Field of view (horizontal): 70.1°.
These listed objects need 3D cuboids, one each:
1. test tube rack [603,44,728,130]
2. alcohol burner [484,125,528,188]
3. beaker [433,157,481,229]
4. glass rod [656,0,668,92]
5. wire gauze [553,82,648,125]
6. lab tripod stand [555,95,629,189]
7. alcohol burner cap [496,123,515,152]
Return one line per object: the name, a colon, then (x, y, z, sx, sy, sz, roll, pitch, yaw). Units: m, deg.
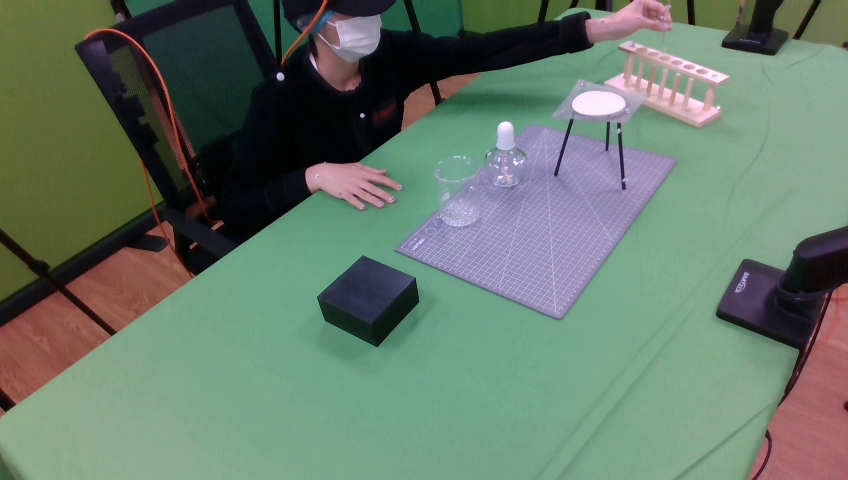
test tube rack: (0.480, -0.316, 1.227, 0.067, 0.085, 0.240, -28, 44, -22)
alcohol burner: (0.144, -0.152, 1.059, 0.078, 0.119, 0.077, -3, 41, 3)
beaker: (0.058, -0.077, 0.995, 0.073, 0.101, 0.084, 19, 46, 29)
glass rod: (0.473, -0.387, 1.200, 0.008, 0.200, 0.008, -7, 39, 6)
wire gauze: (0.293, -0.225, 1.002, 0.120, 0.011, 0.125, 17, 45, 27)
lab tripod stand: (0.301, -0.174, 1.045, 0.148, 0.132, 0.147, -5, 38, 5)
alcohol burner cap: (0.139, -0.179, 1.037, 0.034, 0.048, 0.033, -4, 44, 4)
